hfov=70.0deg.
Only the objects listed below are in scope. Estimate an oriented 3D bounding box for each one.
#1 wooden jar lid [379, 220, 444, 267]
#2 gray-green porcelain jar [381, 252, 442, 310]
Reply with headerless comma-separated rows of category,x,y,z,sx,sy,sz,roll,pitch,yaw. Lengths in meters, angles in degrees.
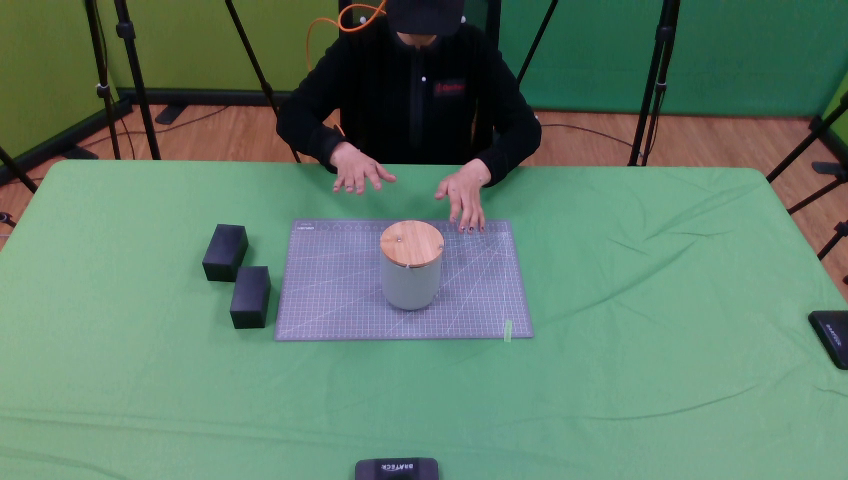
wooden jar lid,-0.021,0.009,1.021,0.108,0.021,0.107,3,45,-2
gray-green porcelain jar,-0.023,0.053,1.068,0.106,0.127,0.105,2,46,-2
